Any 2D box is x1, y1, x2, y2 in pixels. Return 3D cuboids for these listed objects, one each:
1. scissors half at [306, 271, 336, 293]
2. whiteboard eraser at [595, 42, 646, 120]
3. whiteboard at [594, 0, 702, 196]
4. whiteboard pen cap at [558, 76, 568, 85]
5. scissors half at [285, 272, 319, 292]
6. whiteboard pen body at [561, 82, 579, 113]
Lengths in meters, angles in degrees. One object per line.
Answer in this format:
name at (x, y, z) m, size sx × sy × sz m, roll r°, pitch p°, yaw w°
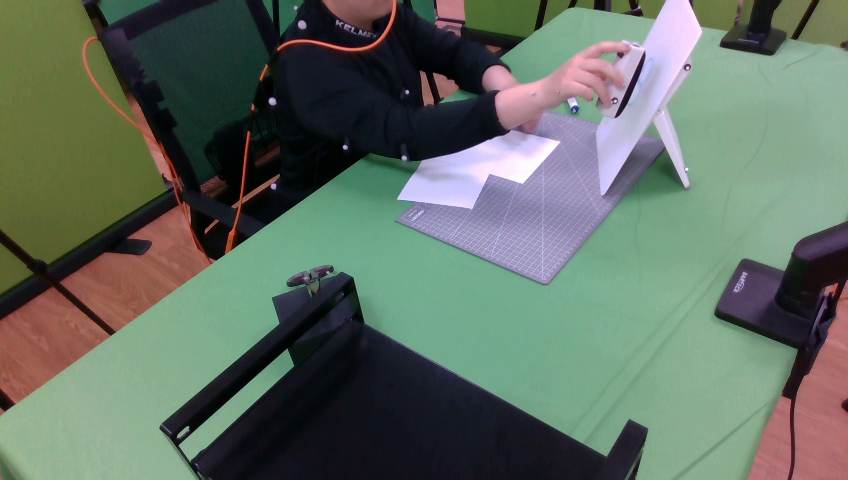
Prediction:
scissors half at (-0.152, 0.061, 0.872) m, size 0.040 × 0.013 × 0.175 m, roll -4°, pitch 6°, yaw -4°
whiteboard eraser at (0.310, -0.249, 0.950) m, size 0.042 × 0.113 × 0.055 m, roll 15°, pitch 28°, yaw -4°
whiteboard at (0.420, -0.227, 1.010) m, size 0.144 × 0.305 × 0.216 m, roll 18°, pitch 42°, yaw -2°
whiteboard pen cap at (0.309, -0.350, 1.340) m, size 0.018 × 0.018 × 0.033 m, roll -6°, pitch 41°, yaw 2°
scissors half at (-0.172, 0.063, 0.868) m, size 0.040 × 0.013 × 0.174 m, roll -11°, pitch 7°, yaw -21°
whiteboard pen body at (0.310, -0.311, 1.297) m, size 0.017 × 0.017 × 0.140 m, roll -6°, pitch 41°, yaw 2°
